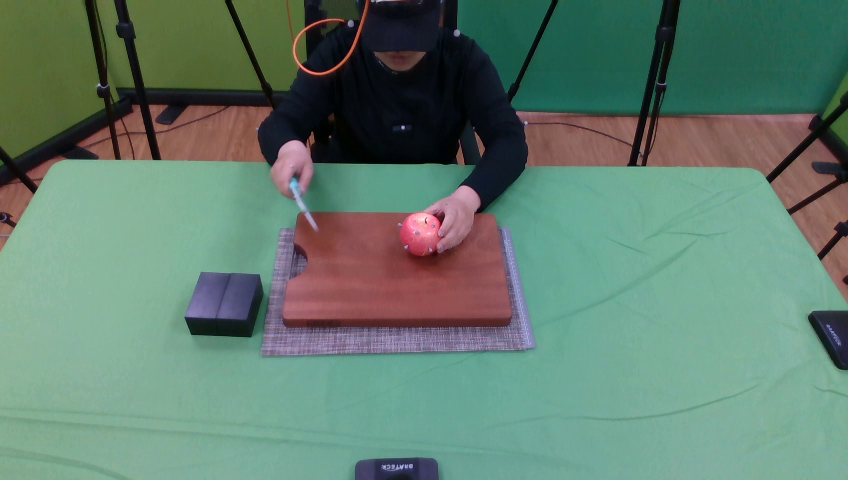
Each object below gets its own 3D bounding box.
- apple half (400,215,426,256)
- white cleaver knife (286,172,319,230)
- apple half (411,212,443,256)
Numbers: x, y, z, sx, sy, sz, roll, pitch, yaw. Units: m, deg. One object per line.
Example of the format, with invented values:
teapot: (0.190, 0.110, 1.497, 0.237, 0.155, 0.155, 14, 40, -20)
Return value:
apple half: (-0.027, -0.003, 1.122, 0.033, 0.081, 0.081, -15, 49, -24)
white cleaver knife: (-0.218, -0.070, 1.071, 0.021, 0.066, 0.285, -28, 22, -6)
apple half: (0.007, -0.013, 1.137, 0.053, 0.075, 0.080, -15, 45, -24)
